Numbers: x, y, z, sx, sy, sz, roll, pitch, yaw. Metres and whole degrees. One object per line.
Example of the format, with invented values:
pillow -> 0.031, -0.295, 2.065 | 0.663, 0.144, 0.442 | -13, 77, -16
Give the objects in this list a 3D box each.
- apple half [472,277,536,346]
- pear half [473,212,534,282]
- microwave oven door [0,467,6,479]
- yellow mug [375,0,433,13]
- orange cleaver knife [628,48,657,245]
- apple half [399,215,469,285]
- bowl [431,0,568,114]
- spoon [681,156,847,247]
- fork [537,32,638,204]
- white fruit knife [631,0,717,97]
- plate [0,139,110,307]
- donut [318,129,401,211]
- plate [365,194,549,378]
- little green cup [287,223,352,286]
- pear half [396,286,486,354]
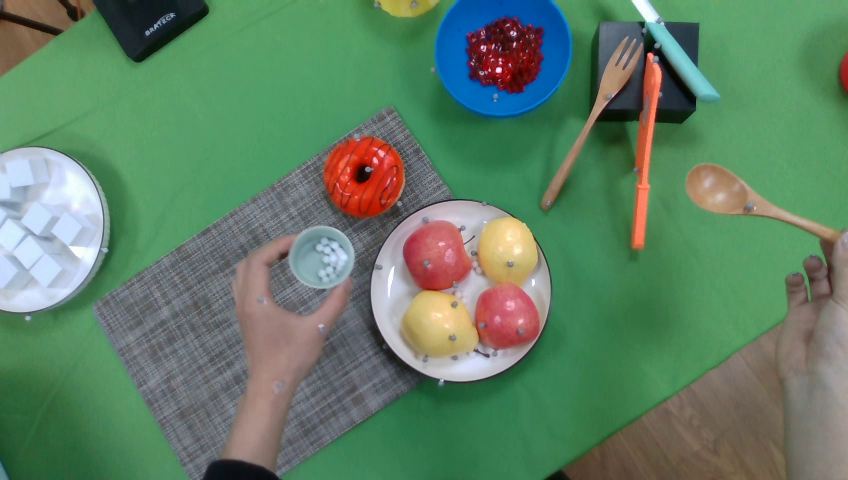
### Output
apple half -> 0.081, 0.081, 0.673 | 0.081, 0.033, 0.081 | 3, 97, 27
pear half -> 0.086, 0.013, 0.681 | 0.070, 0.031, 0.088 | -3, 96, 28
microwave oven door -> -0.480, 0.366, 0.603 | 0.039, 0.244, 0.354 | -31, 83, 2
yellow mug -> -0.042, -0.339, 0.724 | 0.130, 0.064, 0.100 | 24, 88, 8
orange cleaver knife -> 0.239, -0.101, 0.671 | 0.012, 0.077, 0.212 | 3, 111, 11
apple half -> 0.009, 0.012, 0.685 | 0.074, 0.053, 0.080 | -16, 87, 5
bowl -> 0.085, -0.211, 0.697 | 0.151, 0.077, 0.151 | 0, 86, 5
spoon -> 0.308, -0.019, 0.503 | 0.192, 0.022, 0.041 | 29, 85, 20
fork -> 0.177, -0.130, 0.677 | 0.028, 0.018, 0.208 | 25, 108, -1
white fruit knife -> 0.252, -0.240, 0.665 | 0.027, 0.016, 0.206 | -28, 80, -27
plate -> -0.486, -0.020, 0.755 | 0.207, 0.039, 0.207 | 0, 85, 5
donut -> -0.076, -0.082, 0.714 | 0.099, 0.048, 0.099 | 0, 87, 8
plate -> 0.038, 0.051, 0.697 | 0.209, 0.038, 0.208 | 0, 85, 5
little green cup -> -0.101, 0.016, 0.594 | 0.062, 0.038, 0.061 | 1, 85, -9
pear half -> 0.024, 0.098, 0.681 | 0.110, 0.056, 0.076 | 29, 93, 2
